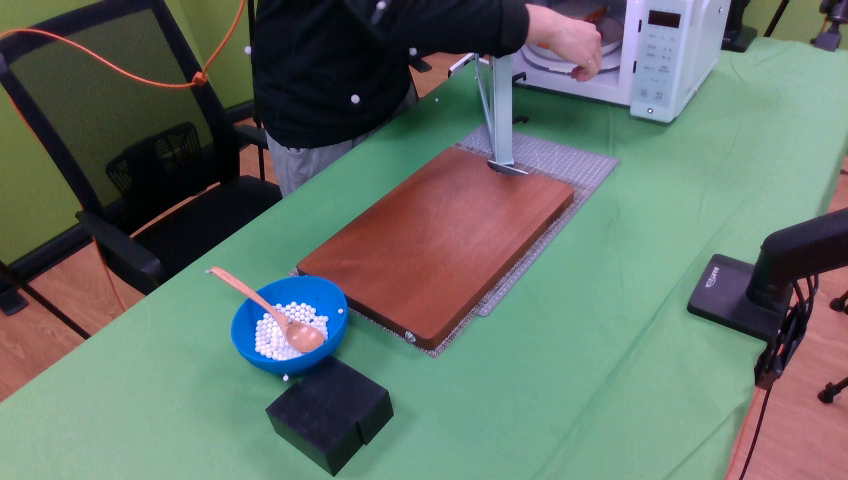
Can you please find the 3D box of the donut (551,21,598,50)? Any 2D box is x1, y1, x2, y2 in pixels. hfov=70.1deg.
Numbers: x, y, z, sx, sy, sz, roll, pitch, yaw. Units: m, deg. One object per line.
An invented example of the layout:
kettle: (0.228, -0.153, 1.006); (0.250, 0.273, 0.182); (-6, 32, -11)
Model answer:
donut: (0.322, -0.442, 1.295); (0.099, 0.048, 0.098); (-2, 45, 3)

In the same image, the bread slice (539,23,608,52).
bread slice: (0.336, -0.450, 1.335); (0.132, 0.019, 0.104); (-23, 43, -18)

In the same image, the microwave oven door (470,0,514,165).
microwave oven door: (0.126, -0.341, 1.154); (0.039, 0.245, 0.354); (-6, 40, 2)

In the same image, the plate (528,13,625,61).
plate: (0.334, -0.447, 1.330); (0.207, 0.039, 0.206); (-6, 43, 6)

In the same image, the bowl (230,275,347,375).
bowl: (-0.171, 0.125, 0.802); (0.151, 0.077, 0.150); (-4, 40, 4)

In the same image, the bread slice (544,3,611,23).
bread slice: (0.330, -0.482, 1.280); (0.106, 0.018, 0.135); (21, 38, 32)

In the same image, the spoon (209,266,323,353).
spoon: (-0.214, 0.088, 0.806); (0.193, 0.021, 0.042); (37, 55, 12)

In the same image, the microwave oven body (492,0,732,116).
microwave oven body: (0.377, -0.462, 1.267); (0.438, 0.261, 0.327); (21, 49, 30)

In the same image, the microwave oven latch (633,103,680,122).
microwave oven latch: (0.443, -0.249, 1.157); (0.078, 0.029, 0.030); (21, 49, 30)
